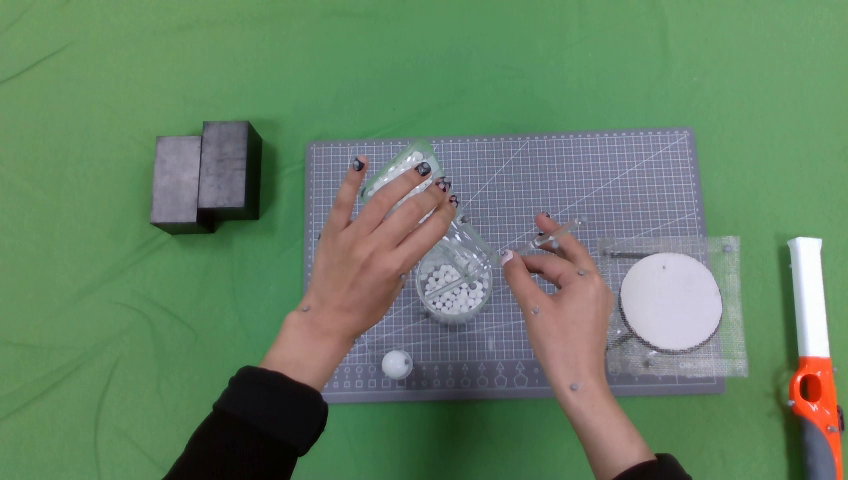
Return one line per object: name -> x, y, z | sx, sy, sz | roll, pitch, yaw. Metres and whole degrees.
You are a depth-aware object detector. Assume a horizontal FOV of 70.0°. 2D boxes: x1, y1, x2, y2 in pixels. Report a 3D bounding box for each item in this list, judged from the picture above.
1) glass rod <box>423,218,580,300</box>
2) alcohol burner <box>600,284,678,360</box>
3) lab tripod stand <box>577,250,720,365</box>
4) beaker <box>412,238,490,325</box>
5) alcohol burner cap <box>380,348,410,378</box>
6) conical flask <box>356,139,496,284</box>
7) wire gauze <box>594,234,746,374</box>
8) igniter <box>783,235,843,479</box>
glass rod -> 0.059, 0.021, 0.528 | 0.008, 0.199, 0.008 | 18, 58, -31
alcohol burner -> 0.218, 0.080, 0.602 | 0.078, 0.119, 0.077 | -1, 78, 4
lab tripod stand -> 0.216, 0.071, 0.594 | 0.148, 0.132, 0.148 | 0, 79, 2
beaker -> 0.029, 0.046, 0.622 | 0.074, 0.101, 0.083 | 21, 78, 6
alcohol burner cap -> -0.032, 0.129, 0.635 | 0.034, 0.048, 0.033 | 0, 78, 1
conical flask -> 0.008, -0.020, 0.510 | 0.075, 0.075, 0.122 | -44, 97, -8
wire gauze -> 0.214, 0.054, 0.528 | 0.125, 0.011, 0.121 | 1, 79, 3
igniter -> 0.404, 0.131, 0.633 | 0.057, 0.025, 0.275 | 5, 78, -8
